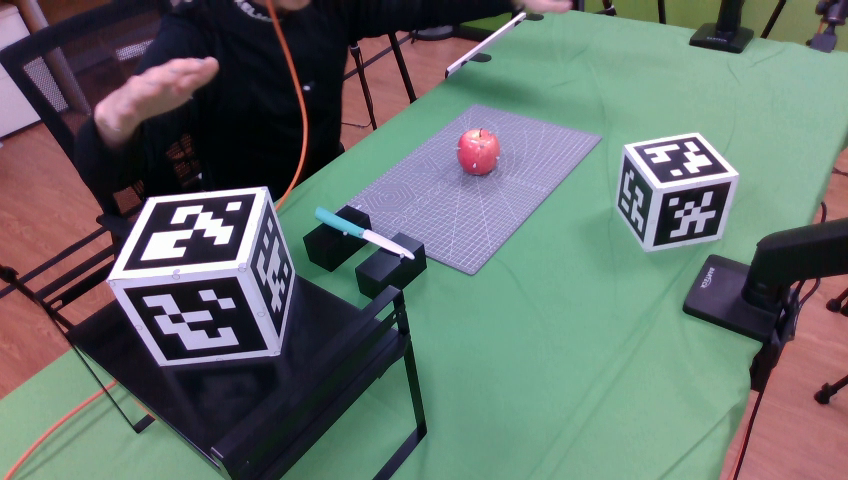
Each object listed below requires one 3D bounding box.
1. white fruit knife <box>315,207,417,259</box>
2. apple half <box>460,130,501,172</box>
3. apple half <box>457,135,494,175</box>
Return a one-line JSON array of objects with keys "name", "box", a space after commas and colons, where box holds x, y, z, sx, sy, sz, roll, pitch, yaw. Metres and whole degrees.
[{"name": "white fruit knife", "box": [-0.094, -0.010, 0.925, 0.206, 0.016, 0.027, 23, 40, 29]}, {"name": "apple half", "box": [0.109, -0.166, 1.106, 0.080, 0.075, 0.053, 18, 42, 33]}, {"name": "apple half", "box": [0.086, -0.145, 1.083, 0.080, 0.081, 0.033, 22, 44, 30]}]
